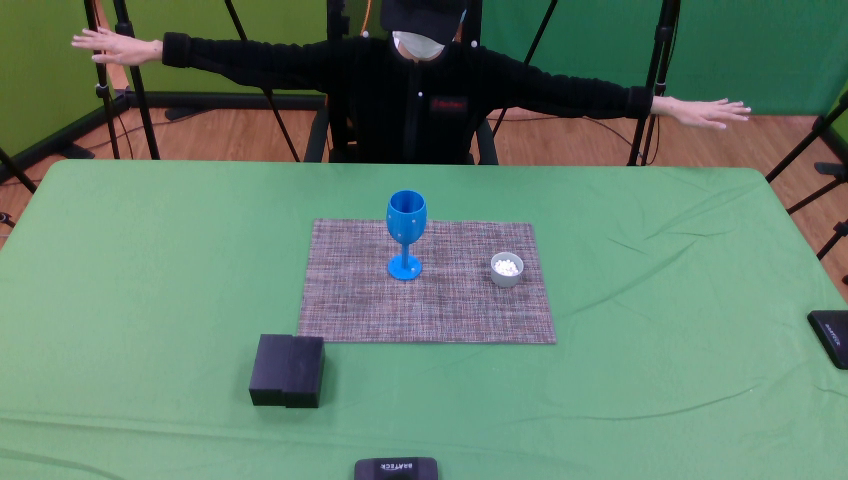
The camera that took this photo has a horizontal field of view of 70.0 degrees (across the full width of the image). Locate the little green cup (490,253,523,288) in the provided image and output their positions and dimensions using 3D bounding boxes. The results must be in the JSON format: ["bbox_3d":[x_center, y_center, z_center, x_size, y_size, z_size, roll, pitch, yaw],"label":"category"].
[{"bbox_3d":[0.153,0.059,1.137,0.061,0.039,0.061,2,46,-2],"label":"little green cup"}]

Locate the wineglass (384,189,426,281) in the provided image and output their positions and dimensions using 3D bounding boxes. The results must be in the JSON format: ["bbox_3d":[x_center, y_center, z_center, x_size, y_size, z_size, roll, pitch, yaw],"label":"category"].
[{"bbox_3d":[-0.035,-0.006,1.090,0.074,0.173,0.073,2,46,-2],"label":"wineglass"}]
